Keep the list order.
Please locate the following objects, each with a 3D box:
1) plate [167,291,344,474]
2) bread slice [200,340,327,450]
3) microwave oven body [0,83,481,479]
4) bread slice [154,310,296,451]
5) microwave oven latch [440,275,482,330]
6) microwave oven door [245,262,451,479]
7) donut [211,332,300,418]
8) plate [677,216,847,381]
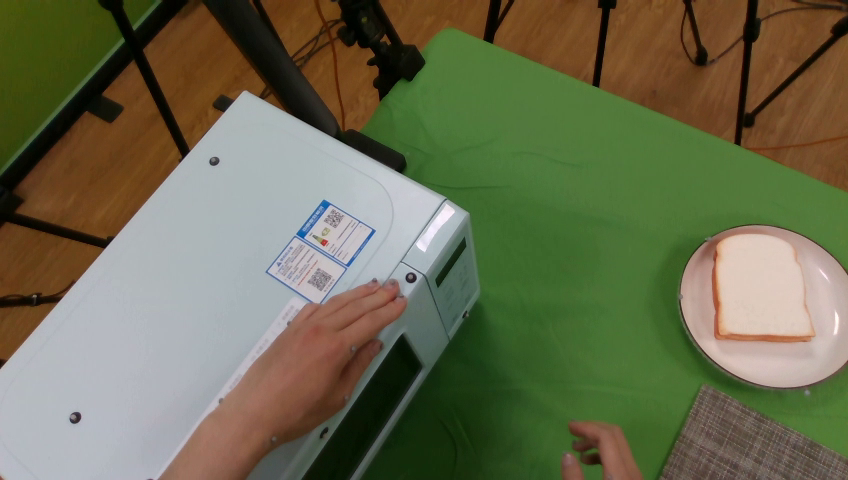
[{"bbox_3d":[-0.194,0.164,0.713,0.209,0.038,0.207,-2,70,5],"label":"plate"},{"bbox_3d":[-0.198,0.190,0.732,0.132,0.019,0.104,-25,65,-31],"label":"bread slice"},{"bbox_3d":[-0.189,0.107,0.685,0.324,0.262,0.440,30,75,18],"label":"microwave oven body"},{"bbox_3d":[-0.210,0.142,0.665,0.106,0.018,0.134,40,70,11],"label":"bread slice"},{"bbox_3d":[0.043,0.074,0.772,0.030,0.030,0.079,34,76,19],"label":"microwave oven latch"},{"bbox_3d":[-0.095,0.207,0.624,0.039,0.246,0.355,30,74,20],"label":"microwave oven door"},{"bbox_3d":[-0.190,0.153,0.691,0.099,0.048,0.098,2,64,-4],"label":"donut"},{"bbox_3d":[0.416,0.072,0.742,0.207,0.039,0.206,-3,67,7],"label":"plate"}]
